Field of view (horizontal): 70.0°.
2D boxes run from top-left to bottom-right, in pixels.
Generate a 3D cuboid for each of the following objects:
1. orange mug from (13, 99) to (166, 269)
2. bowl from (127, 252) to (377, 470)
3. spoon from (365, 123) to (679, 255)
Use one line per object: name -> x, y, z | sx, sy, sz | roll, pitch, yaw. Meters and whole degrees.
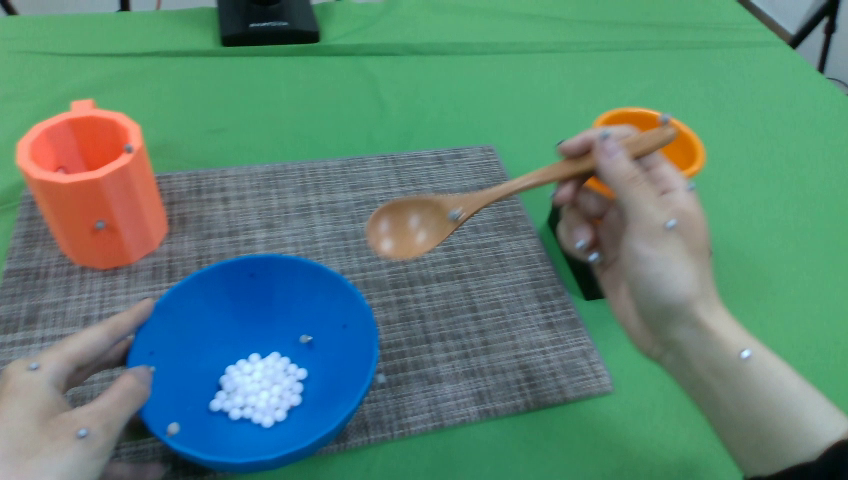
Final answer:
orange mug -> -0.270, -0.054, 0.496 | 0.084, 0.101, 0.125 | -14, 56, -19
bowl -> -0.108, 0.089, 0.405 | 0.151, 0.077, 0.150 | 4, 48, -5
spoon -> 0.056, -0.033, 0.364 | 0.193, 0.022, 0.041 | -18, 77, 13
